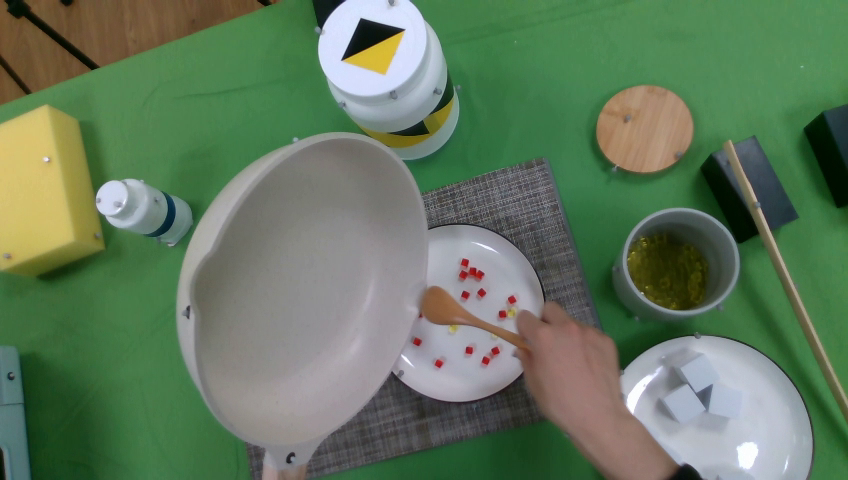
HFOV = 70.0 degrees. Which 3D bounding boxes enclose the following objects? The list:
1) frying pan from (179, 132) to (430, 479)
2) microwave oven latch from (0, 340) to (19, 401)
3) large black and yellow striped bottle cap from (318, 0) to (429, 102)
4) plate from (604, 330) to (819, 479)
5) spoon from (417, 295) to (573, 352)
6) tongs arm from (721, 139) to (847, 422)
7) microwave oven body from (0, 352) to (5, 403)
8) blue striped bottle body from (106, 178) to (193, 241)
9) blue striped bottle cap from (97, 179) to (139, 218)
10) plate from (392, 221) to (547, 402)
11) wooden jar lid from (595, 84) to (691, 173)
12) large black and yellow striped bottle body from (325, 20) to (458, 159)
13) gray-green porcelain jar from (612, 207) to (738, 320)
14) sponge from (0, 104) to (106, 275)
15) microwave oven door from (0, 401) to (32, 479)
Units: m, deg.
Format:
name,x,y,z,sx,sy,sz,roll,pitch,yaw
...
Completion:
name,x,y,z,sx,sy,sz,roll,pitch,yaw
frying pan,-0.117,0.145,0.564,0.102,0.309,0.487,5,85,34
microwave oven latch,-0.554,0.172,0.794,0.030,0.029,0.079,-13,79,8
large black and yellow striped bottle cap,-0.052,-0.199,0.619,0.115,0.019,0.114,-2,81,11
plate,0.299,0.201,0.645,0.207,0.039,0.207,-2,80,11
spoon,0.067,0.083,0.624,0.192,0.042,0.022,9,103,43
tongs arm,0.402,0.067,0.619,0.051,0.026,0.384,-21,87,5
microwave oven body,-0.671,0.362,0.684,0.326,0.261,0.439,-16,78,7
blue striped bottle body,-0.354,-0.039,0.769,0.063,0.121,0.063,-2,80,11
blue striped bottle cap,-0.364,-0.050,0.720,0.044,0.021,0.044,-2,82,10
plate,0.039,0.082,0.711,0.209,0.038,0.208,-2,80,11
wooden jar lid,0.258,-0.131,0.719,0.108,0.021,0.108,-2,81,11
large black and yellow striped bottle body,-0.036,-0.182,0.700,0.130,0.185,0.130,-2,79,11
gray-green porcelain jar,0.255,0.030,0.637,0.105,0.127,0.105,-2,79,11
sponge,-0.531,-0.069,0.838,0.118,0.061,0.205,-21,78,6
microwave oven door,-0.523,0.361,0.650,0.039,0.245,0.354,-16,77,8
